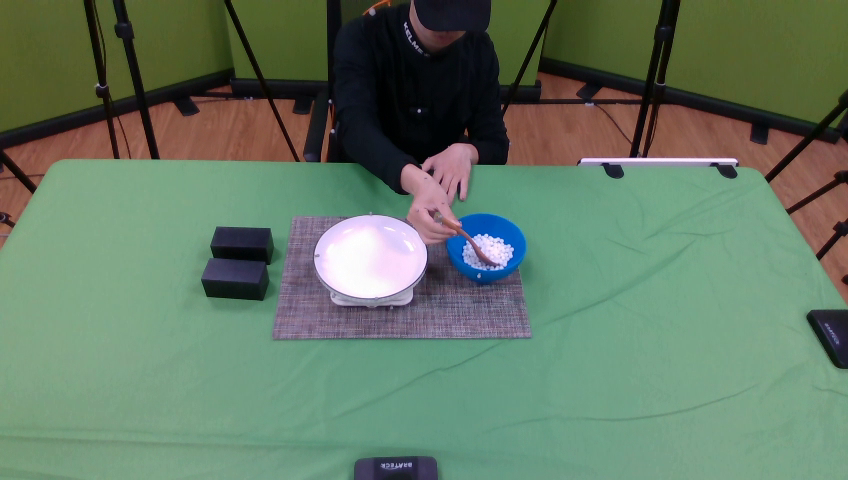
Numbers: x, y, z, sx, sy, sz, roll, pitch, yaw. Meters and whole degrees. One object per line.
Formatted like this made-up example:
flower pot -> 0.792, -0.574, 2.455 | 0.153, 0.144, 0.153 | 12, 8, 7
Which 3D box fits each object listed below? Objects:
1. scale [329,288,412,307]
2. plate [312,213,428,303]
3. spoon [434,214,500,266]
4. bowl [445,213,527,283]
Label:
scale -> -0.099, 0.042, 1.139 | 0.149, 0.032, 0.199 | 1, 46, -4
plate -> -0.097, 0.036, 1.100 | 0.209, 0.038, 0.208 | 2, 46, -2
spoon -> 0.078, 0.001, 1.086 | 0.021, 0.195, 0.041 | -52, 40, -4
bowl -> 0.111, 0.027, 1.136 | 0.151, 0.077, 0.150 | 3, 46, -3
